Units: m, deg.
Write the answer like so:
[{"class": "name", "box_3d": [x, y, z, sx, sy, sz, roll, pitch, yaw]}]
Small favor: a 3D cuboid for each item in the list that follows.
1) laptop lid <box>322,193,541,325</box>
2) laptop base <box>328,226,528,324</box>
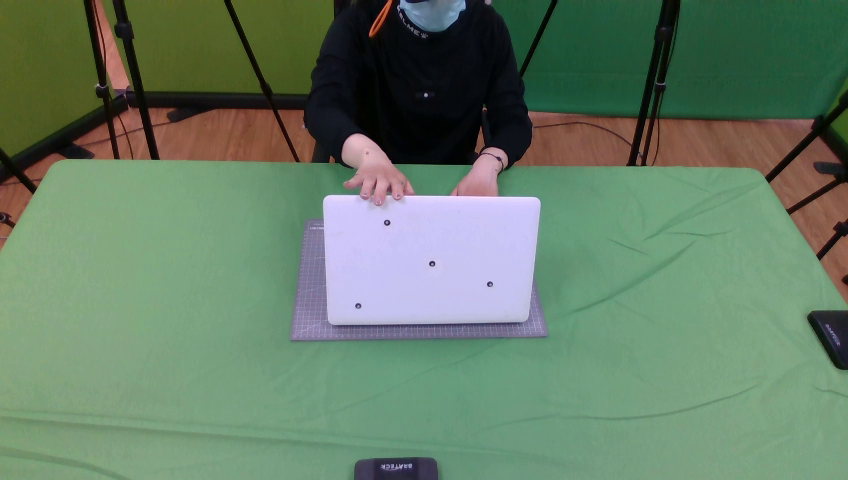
[{"class": "laptop lid", "box_3d": [0.013, 0.035, 1.004, 0.357, 0.242, 0.013, 1, 22, -4]}, {"class": "laptop base", "box_3d": [0.005, 0.061, 1.137, 0.355, 0.023, 0.234, 0, 43, -4]}]
